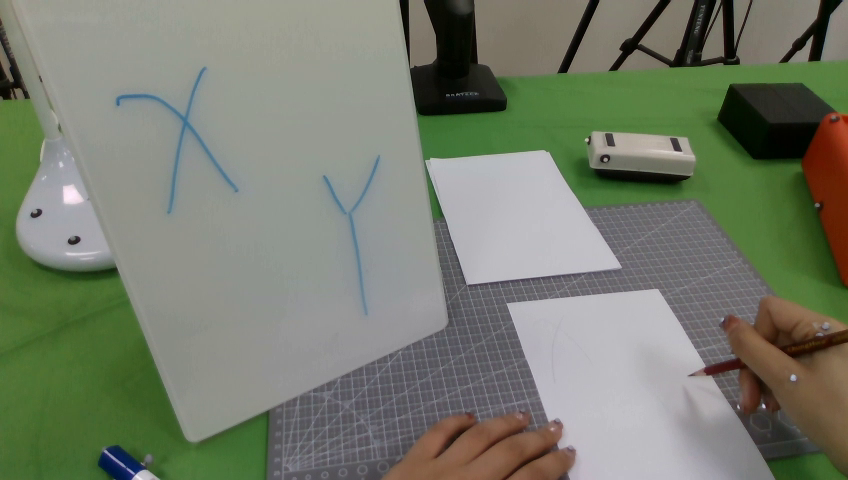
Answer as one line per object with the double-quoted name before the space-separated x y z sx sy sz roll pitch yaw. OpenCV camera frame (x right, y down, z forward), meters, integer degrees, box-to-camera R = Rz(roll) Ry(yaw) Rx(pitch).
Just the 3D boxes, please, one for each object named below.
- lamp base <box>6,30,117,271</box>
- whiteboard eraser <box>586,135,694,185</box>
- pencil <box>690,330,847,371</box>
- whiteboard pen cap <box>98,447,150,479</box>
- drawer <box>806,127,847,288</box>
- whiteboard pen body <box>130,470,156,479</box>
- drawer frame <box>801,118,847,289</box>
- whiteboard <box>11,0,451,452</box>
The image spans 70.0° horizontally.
"lamp base" -0.317 -0.089 0.551 0.178 0.182 0.160 22 44 25
"whiteboard eraser" 0.245 -0.091 0.694 0.112 0.042 0.055 6 42 3
"pencil" 0.247 0.069 0.393 0.012 0.194 0.012 9 66 -22
"whiteboard pen cap" -0.198 0.151 0.401 0.033 0.018 0.018 22 44 24
"drawer" 0.510 -0.023 0.598 0.194 0.074 0.210 11 41 11
"whiteboard pen body" -0.149 0.173 0.378 0.140 0.017 0.017 23 44 22
"drawer frame" 0.511 -0.026 0.600 0.201 0.083 0.212 10 40 10
"whiteboard" -0.124 -0.044 0.458 0.218 0.307 0.142 -20 26 -23
